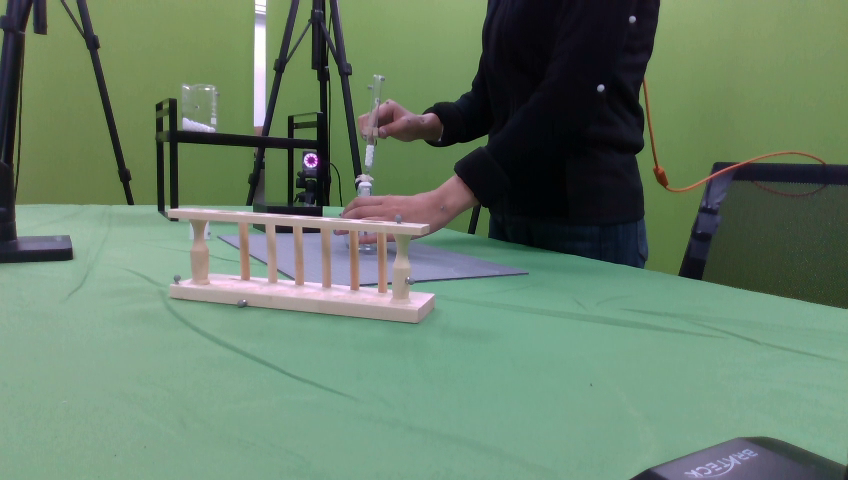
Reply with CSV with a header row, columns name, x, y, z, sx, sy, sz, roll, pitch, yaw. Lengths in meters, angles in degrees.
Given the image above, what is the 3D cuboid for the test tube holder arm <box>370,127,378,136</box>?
name,x,y,z,sx,sy,sz,roll,pitch,yaw
test tube holder arm,-0.083,-0.181,1.008,0.010,0.015,0.087,12,8,-5

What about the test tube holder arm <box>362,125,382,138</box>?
name,x,y,z,sx,sy,sz,roll,pitch,yaw
test tube holder arm,-0.089,-0.188,1.052,0.013,0.015,0.178,13,8,0

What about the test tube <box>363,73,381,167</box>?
name,x,y,z,sx,sy,sz,roll,pitch,yaw
test tube,-0.085,-0.194,0.983,0.017,0.150,0.017,6,7,0

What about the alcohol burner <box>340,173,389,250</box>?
name,x,y,z,sx,sy,sz,roll,pitch,yaw
alcohol burner,-0.094,-0.045,0.939,0.078,0.119,0.078,0,7,0

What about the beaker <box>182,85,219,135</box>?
name,x,y,z,sx,sy,sz,roll,pitch,yaw
beaker,-0.479,-0.276,1.291,0.074,0.100,0.084,2,8,-1

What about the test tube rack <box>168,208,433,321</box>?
name,x,y,z,sx,sy,sz,roll,pitch,yaw
test tube rack,-0.115,0.017,0.574,0.242,0.085,0.067,4,8,13

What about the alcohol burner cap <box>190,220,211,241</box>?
name,x,y,z,sx,sy,sz,roll,pitch,yaw
alcohol burner cap,-0.365,-0.023,0.988,0.034,0.048,0.034,1,7,0
